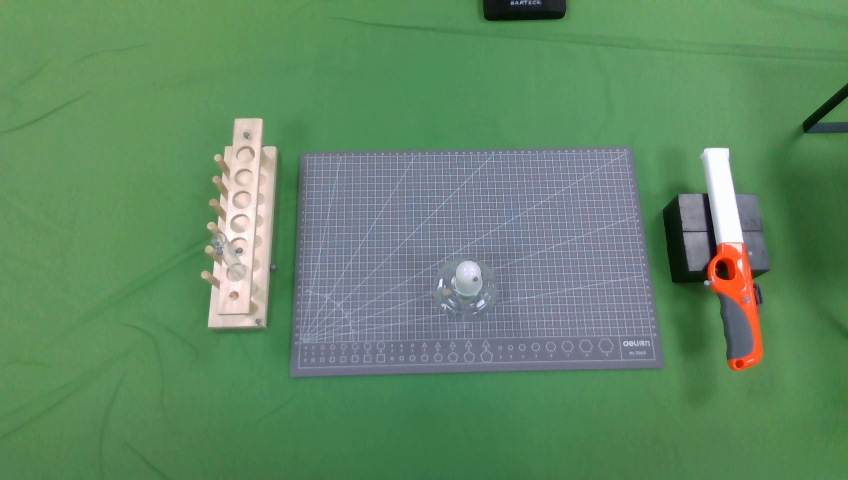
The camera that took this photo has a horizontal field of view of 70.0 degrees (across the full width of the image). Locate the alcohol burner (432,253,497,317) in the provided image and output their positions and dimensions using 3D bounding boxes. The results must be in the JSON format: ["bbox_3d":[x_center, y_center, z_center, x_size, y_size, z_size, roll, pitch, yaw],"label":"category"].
[{"bbox_3d":[0.048,0.048,0.703,0.078,0.119,0.077,0,73,0],"label":"alcohol burner"}]

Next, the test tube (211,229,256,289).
[{"bbox_3d":[-0.208,0.024,0.671,0.017,0.151,0.017,1,67,-2],"label":"test tube"}]

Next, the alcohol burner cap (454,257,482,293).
[{"bbox_3d":[0.049,0.036,0.669,0.034,0.048,0.033,-1,67,2],"label":"alcohol burner cap"}]

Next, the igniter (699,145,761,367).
[{"bbox_3d":[0.362,0.013,0.721,0.057,0.025,0.274,1,70,2],"label":"igniter"}]

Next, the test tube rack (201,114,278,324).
[{"bbox_3d":[-0.228,-0.025,0.738,0.067,0.085,0.240,-1,72,-1],"label":"test tube rack"}]
